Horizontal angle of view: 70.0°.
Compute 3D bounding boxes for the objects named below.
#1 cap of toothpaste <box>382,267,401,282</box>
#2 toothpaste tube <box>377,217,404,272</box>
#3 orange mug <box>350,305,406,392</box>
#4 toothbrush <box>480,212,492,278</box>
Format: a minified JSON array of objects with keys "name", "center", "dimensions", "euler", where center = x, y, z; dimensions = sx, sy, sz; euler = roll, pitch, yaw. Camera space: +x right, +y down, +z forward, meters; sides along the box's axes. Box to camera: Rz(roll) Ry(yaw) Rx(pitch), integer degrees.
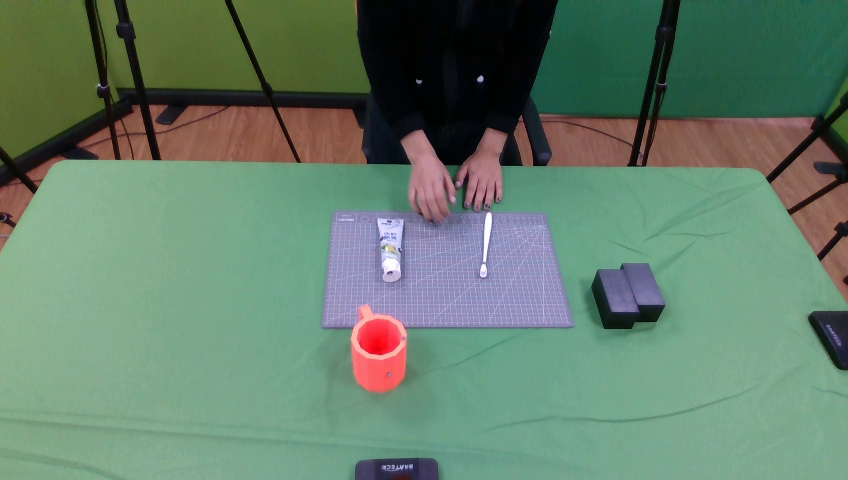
[{"name":"cap of toothpaste","center":[-0.060,0.063,1.118],"dimensions":[0.037,0.037,0.011],"euler":[-9,50,-12]},{"name":"toothpaste tube","center":[-0.063,0.008,1.179],"dimensions":[0.055,0.034,0.164],"euler":[5,42,-9]},{"name":"orange mug","center":[-0.080,0.168,0.978],"dimensions":[0.083,0.101,0.125],"euler":[-16,54,-18]},{"name":"toothbrush","center":[0.124,0.004,1.203],"dimensions":[0.014,0.017,0.181],"euler":[-3,43,14]}]
